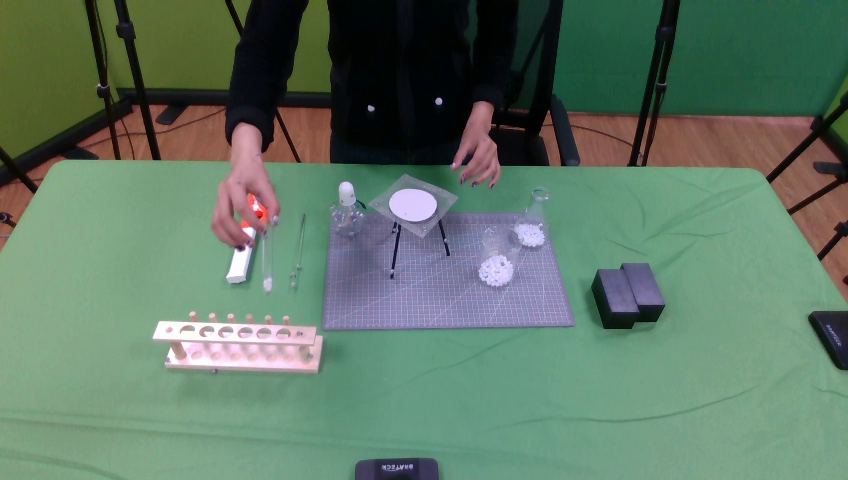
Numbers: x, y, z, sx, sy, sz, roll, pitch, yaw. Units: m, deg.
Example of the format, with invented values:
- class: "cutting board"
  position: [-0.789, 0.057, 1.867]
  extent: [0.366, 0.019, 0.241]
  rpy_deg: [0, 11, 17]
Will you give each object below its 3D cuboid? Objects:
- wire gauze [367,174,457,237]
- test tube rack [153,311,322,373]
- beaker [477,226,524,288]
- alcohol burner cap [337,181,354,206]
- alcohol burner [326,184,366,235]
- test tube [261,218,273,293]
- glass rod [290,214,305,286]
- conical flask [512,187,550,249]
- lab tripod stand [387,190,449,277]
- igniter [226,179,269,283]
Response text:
- class: "wire gauze"
  position: [-0.021, -0.067, 1.088]
  extent: [0.124, 0.011, 0.121]
  rpy_deg: [28, 49, 21]
- class: "test tube rack"
  position: [-0.293, 0.160, 0.978]
  extent: [0.242, 0.085, 0.066]
  rpy_deg: [3, 46, -2]
- class: "beaker"
  position: [0.139, 0.033, 1.121]
  extent: [0.084, 0.101, 0.073]
  rpy_deg: [-12, 48, -16]
- class: "alcohol burner cap"
  position: [-0.151, -0.090, 1.157]
  extent: [0.034, 0.048, 0.033]
  rpy_deg: [0, 52, 0]
- class: "alcohol burner"
  position: [-0.152, -0.066, 1.184]
  extent: [0.078, 0.119, 0.077]
  rpy_deg: [4, 46, -4]
- class: "test tube"
  position: [-0.232, 0.027, 0.893]
  extent: [0.017, 0.151, 0.017]
  rpy_deg: [8, 43, -7]
- class: "glass rod"
  position: [-0.245, 0.015, 1.175]
  extent: [0.008, 0.008, 0.198]
  rpy_deg: [1, 43, -3]
- class: "conical flask"
  position: [0.217, -0.048, 1.190]
  extent: [0.075, 0.122, 0.075]
  rpy_deg: [2, 46, -2]
- class: "lab tripod stand"
  position: [-0.021, -0.018, 1.135]
  extent: [0.148, 0.132, 0.147]
  rpy_deg: [3, 44, -3]
- class: "igniter"
  position: [-0.345, -0.027, 1.195]
  extent: [0.057, 0.025, 0.274]
  rpy_deg: [-6, 46, 5]
